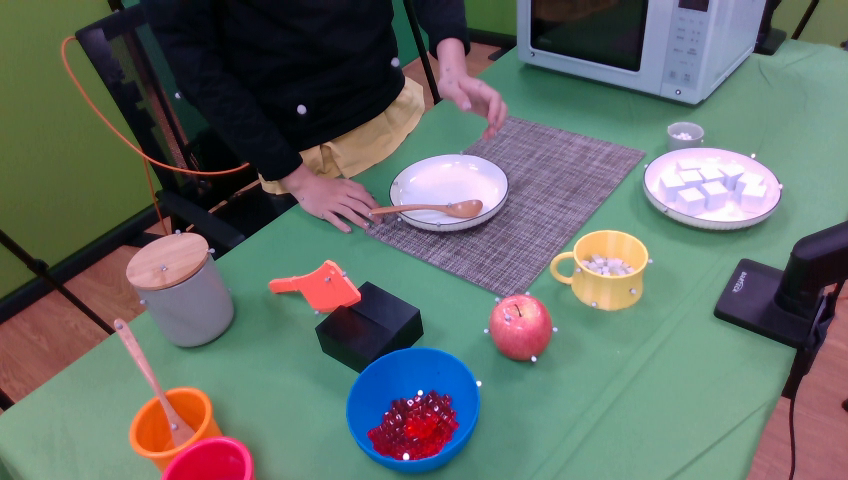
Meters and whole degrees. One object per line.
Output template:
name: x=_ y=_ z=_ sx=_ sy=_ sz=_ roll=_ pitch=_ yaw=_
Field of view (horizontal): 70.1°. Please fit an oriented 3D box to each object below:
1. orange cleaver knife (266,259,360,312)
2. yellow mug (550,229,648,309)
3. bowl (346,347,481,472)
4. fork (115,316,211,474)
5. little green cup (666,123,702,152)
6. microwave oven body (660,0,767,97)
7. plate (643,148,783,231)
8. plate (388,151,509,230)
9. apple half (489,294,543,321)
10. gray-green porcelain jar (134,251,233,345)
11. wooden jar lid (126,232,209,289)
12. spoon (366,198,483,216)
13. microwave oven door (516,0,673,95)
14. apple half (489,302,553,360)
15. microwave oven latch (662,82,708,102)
orange cleaver knife: x=-0.161 y=0.070 z=0.859 sx=0.210 sy=0.077 sz=0.012 roll=-13 pitch=22 yaw=49
yellow mug: x=0.245 y=0.040 z=0.857 sx=0.130 sy=0.064 sz=0.099 roll=1 pitch=42 yaw=11
bowl: x=-0.008 y=0.205 z=0.691 sx=0.151 sy=0.077 sz=0.150 roll=-4 pitch=40 yaw=4
fork: x=-0.308 y=0.179 z=0.708 sx=0.028 sy=0.018 sz=0.207 roll=-30 pitch=89 yaw=-20
little green cup: x=0.472 y=-0.183 z=1.102 sx=0.061 sy=0.039 sz=0.061 roll=-5 pitch=40 yaw=5
microwave oven body: x=0.473 y=-0.516 z=1.313 sx=0.438 sy=0.261 sz=0.327 roll=26 pitch=51 yaw=34
plate: x=0.464 y=-0.080 z=0.986 sx=0.207 sy=0.039 sz=0.206 roll=-4 pitch=41 yaw=4
plate: x=0.044 y=-0.082 z=1.042 sx=0.209 sy=0.038 sz=0.208 roll=-4 pitch=40 yaw=4
apple half: x=0.121 y=0.098 z=0.800 sx=0.081 sy=0.081 sz=0.032 roll=-10 pitch=44 yaw=-4
gray-green porcelain jar: x=-0.334 y=0.076 z=0.849 sx=0.106 sy=0.127 sz=0.105 roll=-4 pitch=41 yaw=4
wooden jar lid: x=-0.340 y=0.030 z=0.808 sx=0.108 sy=0.021 sz=0.108 roll=-5 pitch=39 yaw=5
spoon: x=0.002 y=-0.055 z=0.996 sx=0.194 sy=0.022 sz=0.041 roll=-1 pitch=44 yaw=-10
microwave oven door: x=0.344 y=-0.458 z=1.257 sx=0.353 sy=0.245 sz=0.039 roll=26 pitch=51 yaw=33
apple half: x=0.127 y=0.123 z=0.771 sx=0.081 sy=0.075 sz=0.053 roll=-8 pitch=43 yaw=-6
microwave oven latch: x=0.517 y=-0.298 z=1.202 sx=0.078 sy=0.029 sz=0.030 roll=27 pitch=52 yaw=34
